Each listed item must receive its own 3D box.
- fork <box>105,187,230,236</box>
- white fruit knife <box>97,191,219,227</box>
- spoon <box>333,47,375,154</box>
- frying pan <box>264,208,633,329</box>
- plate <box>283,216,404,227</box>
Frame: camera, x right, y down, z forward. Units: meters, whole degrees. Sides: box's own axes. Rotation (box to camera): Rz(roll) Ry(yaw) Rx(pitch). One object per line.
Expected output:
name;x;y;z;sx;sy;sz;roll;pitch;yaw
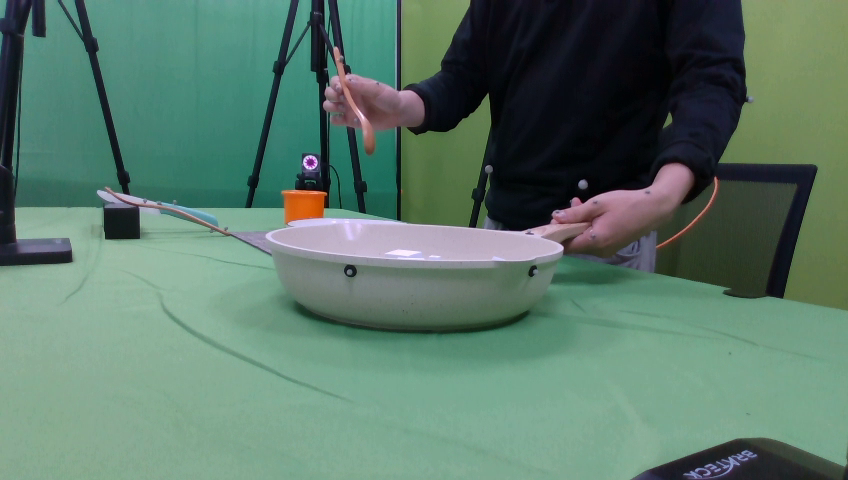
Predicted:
fork;-0.428;-0.047;1.020;0.208;0.018;0.028;19;-8;-26
white fruit knife;-0.468;-0.056;1.079;0.208;0.027;0.016;15;-2;-29
spoon;-0.106;-0.207;0.878;0.021;0.193;0.042;-26;-22;6
frying pan;0.075;0.007;0.667;0.490;0.102;0.305;-13;15;-33
plate;-0.119;-0.009;0.968;0.208;0.039;0.207;3;7;0
